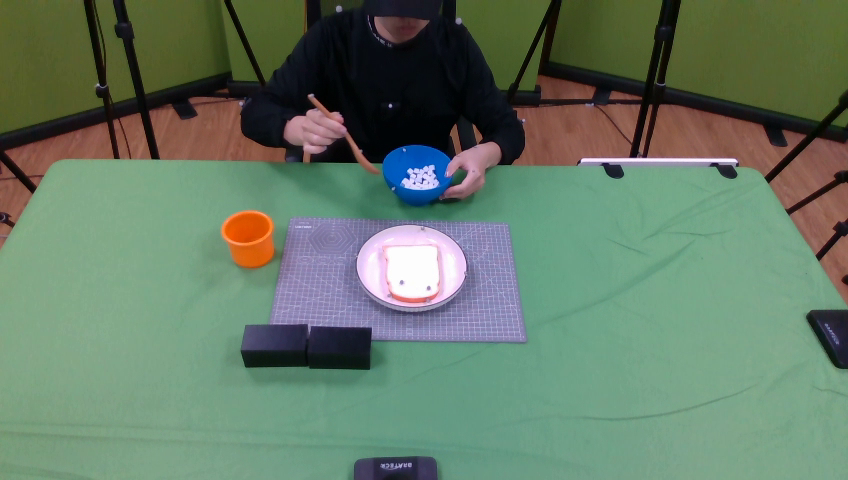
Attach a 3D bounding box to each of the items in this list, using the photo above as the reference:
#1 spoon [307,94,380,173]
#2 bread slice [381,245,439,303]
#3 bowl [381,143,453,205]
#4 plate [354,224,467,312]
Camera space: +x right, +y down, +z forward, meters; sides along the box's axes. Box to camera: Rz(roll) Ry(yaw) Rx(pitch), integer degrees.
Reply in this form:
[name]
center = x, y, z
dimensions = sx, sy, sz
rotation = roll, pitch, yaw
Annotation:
[spoon]
center = -0.146, -0.192, 1.112
dimensions = 0.021, 0.194, 0.041
rotation = -43, 25, -10
[bread slice]
center = -0.022, 0.061, 1.126
dimensions = 0.107, 0.018, 0.133
rotation = -3, 45, -8
[bowl]
center = -0.016, -0.126, 1.278
dimensions = 0.151, 0.077, 0.150
rotation = 2, 46, -2
[plate]
center = -0.025, 0.055, 1.128
dimensions = 0.209, 0.038, 0.208
rotation = 3, 46, -2
